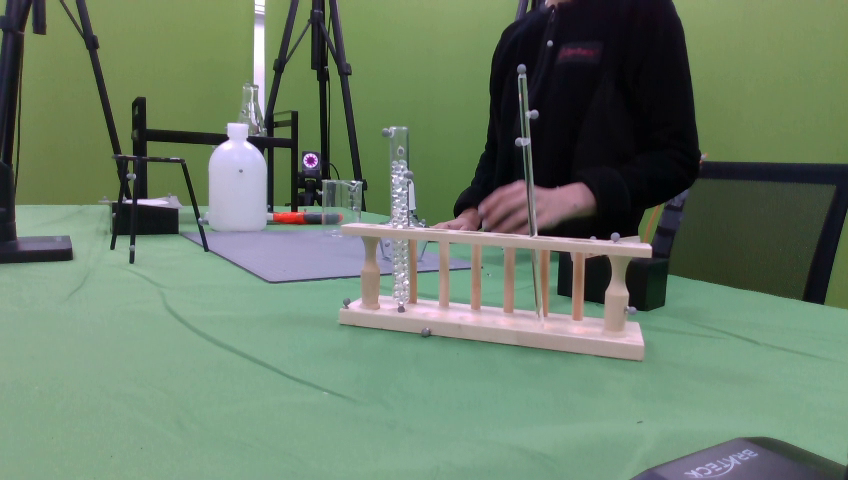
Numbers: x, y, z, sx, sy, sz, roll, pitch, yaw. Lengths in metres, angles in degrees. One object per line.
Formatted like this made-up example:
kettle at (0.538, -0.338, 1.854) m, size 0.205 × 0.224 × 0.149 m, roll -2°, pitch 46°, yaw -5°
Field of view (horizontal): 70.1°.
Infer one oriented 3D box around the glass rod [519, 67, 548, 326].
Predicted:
glass rod at (0.084, -0.029, 0.459) m, size 0.008 × 0.199 × 0.008 m, roll -7°, pitch 11°, yaw 2°

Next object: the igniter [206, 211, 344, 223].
igniter at (-0.302, -0.048, 1.249) m, size 0.278 × 0.025 × 0.057 m, roll -2°, pitch -2°, yaw -27°

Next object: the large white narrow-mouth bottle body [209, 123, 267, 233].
large white narrow-mouth bottle body at (-0.340, -0.115, 1.109) m, size 0.102 × 0.194 × 0.102 m, roll 2°, pitch 8°, yaw 0°

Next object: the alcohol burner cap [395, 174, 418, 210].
alcohol burner cap at (-0.026, -0.067, 0.834) m, size 0.034 × 0.048 × 0.034 m, roll -1°, pitch 12°, yaw 1°

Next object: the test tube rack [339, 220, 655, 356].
test tube rack at (0.056, 0.032, 0.495) m, size 0.242 × 0.085 × 0.067 m, roll 4°, pitch 7°, yaw 15°

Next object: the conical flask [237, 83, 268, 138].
conical flask at (-0.402, -0.299, 1.406) m, size 0.075 × 0.122 × 0.075 m, roll 2°, pitch 7°, yaw 0°

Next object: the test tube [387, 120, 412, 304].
test tube at (-0.019, -0.021, 0.488) m, size 0.017 × 0.150 × 0.017 m, roll -1°, pitch 13°, yaw 1°

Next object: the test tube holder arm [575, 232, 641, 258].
test tube holder arm at (0.202, 0.003, 0.651) m, size 0.013 × 0.015 × 0.179 m, roll -4°, pitch 2°, yaw 36°

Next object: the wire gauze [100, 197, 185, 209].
wire gauze at (-0.469, -0.062, 1.008) m, size 0.126 × 0.011 × 0.121 m, roll -2°, pitch 8°, yaw -25°

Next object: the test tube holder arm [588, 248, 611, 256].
test tube holder arm at (0.180, 0.006, 0.611) m, size 0.010 × 0.015 × 0.088 m, roll -4°, pitch 2°, yaw 36°

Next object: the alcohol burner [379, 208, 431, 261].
alcohol burner at (-0.027, -0.031, 0.838) m, size 0.078 × 0.119 × 0.078 m, roll 0°, pitch 6°, yaw 0°

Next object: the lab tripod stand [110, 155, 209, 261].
lab tripod stand at (-0.361, -0.046, 0.806) m, size 0.148 × 0.131 × 0.148 m, roll 2°, pitch 5°, yaw 0°

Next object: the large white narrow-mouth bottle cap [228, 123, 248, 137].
large white narrow-mouth bottle cap at (-0.338, -0.199, 1.097) m, size 0.038 × 0.024 × 0.037 m, roll 2°, pitch 8°, yaw 0°

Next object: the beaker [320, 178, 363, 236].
beaker at (-0.145, -0.059, 1.079) m, size 0.074 × 0.100 × 0.083 m, roll -4°, pitch 10°, yaw -36°
